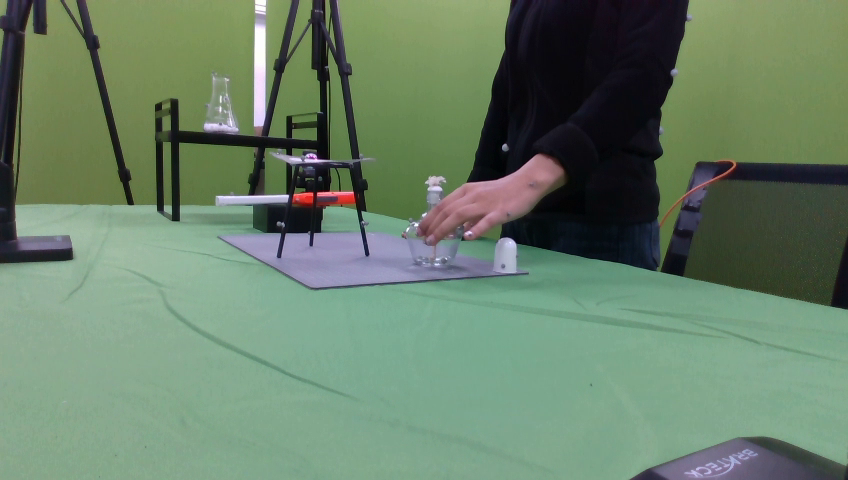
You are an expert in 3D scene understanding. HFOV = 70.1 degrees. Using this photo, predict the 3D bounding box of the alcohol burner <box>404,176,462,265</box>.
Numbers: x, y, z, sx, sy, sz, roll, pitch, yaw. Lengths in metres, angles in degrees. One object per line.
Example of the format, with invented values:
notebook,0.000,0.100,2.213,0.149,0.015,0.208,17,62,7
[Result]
alcohol burner,0.013,-0.026,0.810,0.078,0.119,0.078,3,8,0

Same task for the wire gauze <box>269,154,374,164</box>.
wire gauze,-0.146,-0.114,0.860,0.122,0.011,0.124,-2,9,-28

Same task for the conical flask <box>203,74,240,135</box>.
conical flask,-0.425,-0.284,1.271,0.075,0.122,0.075,3,7,0

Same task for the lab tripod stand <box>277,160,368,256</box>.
lab tripod stand,-0.150,-0.046,0.861,0.148,0.131,0.148,3,9,0

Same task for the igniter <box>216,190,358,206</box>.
igniter,-0.248,-0.079,1.142,0.278,0.025,0.057,-5,8,-31

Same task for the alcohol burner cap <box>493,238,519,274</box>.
alcohol burner cap,0.107,0.021,0.785,0.034,0.048,0.034,0,10,0
